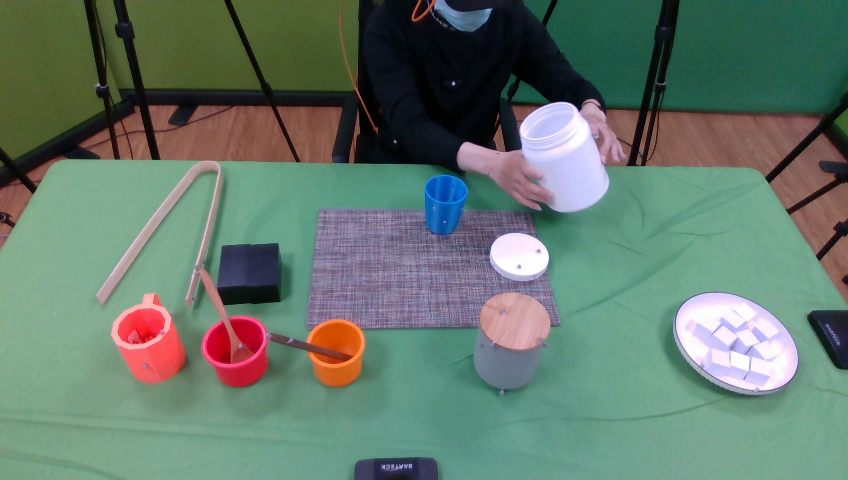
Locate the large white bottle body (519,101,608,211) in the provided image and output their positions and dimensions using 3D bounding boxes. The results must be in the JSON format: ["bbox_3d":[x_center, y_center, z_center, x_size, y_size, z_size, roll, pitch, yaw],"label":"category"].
[{"bbox_3d":[0.265,-0.161,1.162,0.130,0.186,0.130,-21,38,18],"label":"large white bottle body"}]

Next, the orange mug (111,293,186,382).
[{"bbox_3d":[-0.435,0.149,0.969,0.083,0.101,0.125,-5,51,-8],"label":"orange mug"}]

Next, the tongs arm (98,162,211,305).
[{"bbox_3d":[-0.519,-0.028,1.184,0.028,0.028,0.385,5,45,13],"label":"tongs arm"}]

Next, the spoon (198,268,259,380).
[{"bbox_3d":[-0.312,0.132,0.962,0.041,0.021,0.194,-24,96,-22],"label":"spoon"}]

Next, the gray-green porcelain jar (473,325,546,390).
[{"bbox_3d":[0.135,0.170,0.969,0.106,0.127,0.105,2,46,-2],"label":"gray-green porcelain jar"}]

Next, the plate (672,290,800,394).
[{"bbox_3d":[0.533,0.178,1.050,0.208,0.039,0.206,2,46,-2],"label":"plate"}]

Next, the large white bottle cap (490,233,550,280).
[{"bbox_3d":[0.186,0.031,1.177,0.115,0.018,0.114,2,46,-2],"label":"large white bottle cap"}]

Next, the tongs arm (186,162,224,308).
[{"bbox_3d":[-0.435,-0.025,1.180,0.051,0.027,0.382,-3,45,0],"label":"tongs arm"}]

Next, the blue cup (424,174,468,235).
[{"bbox_3d":[0.039,-0.065,1.201,0.093,0.101,0.092,3,47,-3],"label":"blue cup"}]

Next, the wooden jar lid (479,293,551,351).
[{"bbox_3d":[0.137,0.127,0.925,0.108,0.021,0.107,1,47,-1],"label":"wooden jar lid"}]

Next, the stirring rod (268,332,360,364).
[{"bbox_3d":[-0.167,0.169,0.941,0.177,0.006,0.014,26,26,-41],"label":"stirring rod"}]
